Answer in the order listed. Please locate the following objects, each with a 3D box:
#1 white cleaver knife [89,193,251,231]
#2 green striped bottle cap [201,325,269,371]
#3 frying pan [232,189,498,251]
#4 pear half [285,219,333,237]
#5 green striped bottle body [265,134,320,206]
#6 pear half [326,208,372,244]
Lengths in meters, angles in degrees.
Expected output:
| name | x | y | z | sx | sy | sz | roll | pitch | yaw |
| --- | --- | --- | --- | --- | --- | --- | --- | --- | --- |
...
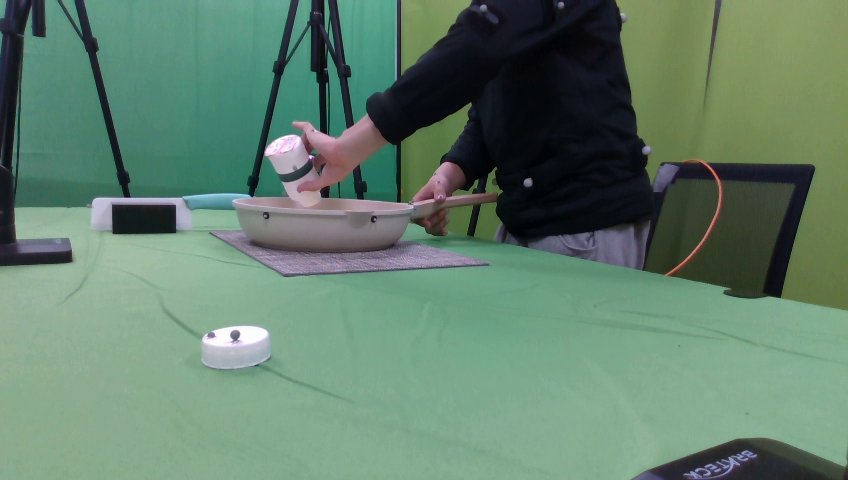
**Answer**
| name | x | y | z | sx | sy | sz | roll | pitch | yaw |
| --- | --- | --- | --- | --- | --- | --- | --- | --- | --- |
| white cleaver knife | -0.454 | -0.052 | 1.115 | 0.288 | 0.066 | 0.021 | -4 | 14 | -27 |
| green striped bottle cap | -0.129 | 0.073 | 0.415 | 0.044 | 0.020 | 0.044 | 2 | 8 | 0 |
| frying pan | -0.073 | -0.051 | 1.048 | 0.490 | 0.102 | 0.305 | -11 | 13 | -27 |
| pear half | -0.198 | -0.021 | 1.053 | 0.070 | 0.031 | 0.088 | 14 | 18 | 43 |
| green striped bottle body | -0.221 | -0.117 | 1.041 | 0.063 | 0.119 | 0.063 | -12 | 39 | 11 |
| pear half | -0.128 | -0.025 | 1.017 | 0.076 | 0.056 | 0.109 | 6 | 3 | -18 |
